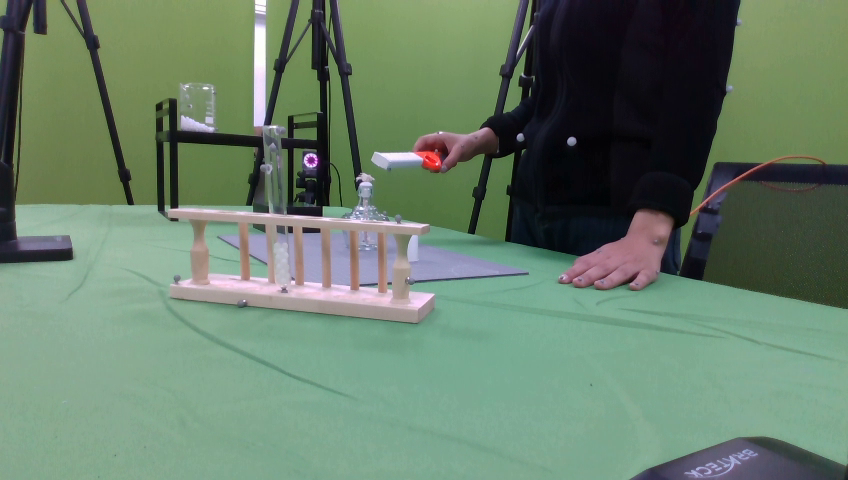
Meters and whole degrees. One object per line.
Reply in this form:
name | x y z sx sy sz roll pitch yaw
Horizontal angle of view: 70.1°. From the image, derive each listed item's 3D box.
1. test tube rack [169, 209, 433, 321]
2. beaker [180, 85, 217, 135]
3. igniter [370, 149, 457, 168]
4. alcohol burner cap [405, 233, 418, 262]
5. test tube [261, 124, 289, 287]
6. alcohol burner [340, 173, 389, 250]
test tube rack | -0.115 0.018 0.574 0.242 0.085 0.067 4 8 14
beaker | -0.478 -0.275 1.279 0.074 0.100 0.084 4 8 15
igniter | -0.010 -0.145 1.075 0.057 0.025 0.277 33 21 19
alcohol burner cap | -0.024 0.005 0.847 0.034 0.048 0.034 2 9 0
test tube | -0.136 -0.030 0.554 0.017 0.150 0.017 -2 10 1
alcohol burner | -0.093 -0.045 0.939 0.078 0.119 0.078 0 7 0
